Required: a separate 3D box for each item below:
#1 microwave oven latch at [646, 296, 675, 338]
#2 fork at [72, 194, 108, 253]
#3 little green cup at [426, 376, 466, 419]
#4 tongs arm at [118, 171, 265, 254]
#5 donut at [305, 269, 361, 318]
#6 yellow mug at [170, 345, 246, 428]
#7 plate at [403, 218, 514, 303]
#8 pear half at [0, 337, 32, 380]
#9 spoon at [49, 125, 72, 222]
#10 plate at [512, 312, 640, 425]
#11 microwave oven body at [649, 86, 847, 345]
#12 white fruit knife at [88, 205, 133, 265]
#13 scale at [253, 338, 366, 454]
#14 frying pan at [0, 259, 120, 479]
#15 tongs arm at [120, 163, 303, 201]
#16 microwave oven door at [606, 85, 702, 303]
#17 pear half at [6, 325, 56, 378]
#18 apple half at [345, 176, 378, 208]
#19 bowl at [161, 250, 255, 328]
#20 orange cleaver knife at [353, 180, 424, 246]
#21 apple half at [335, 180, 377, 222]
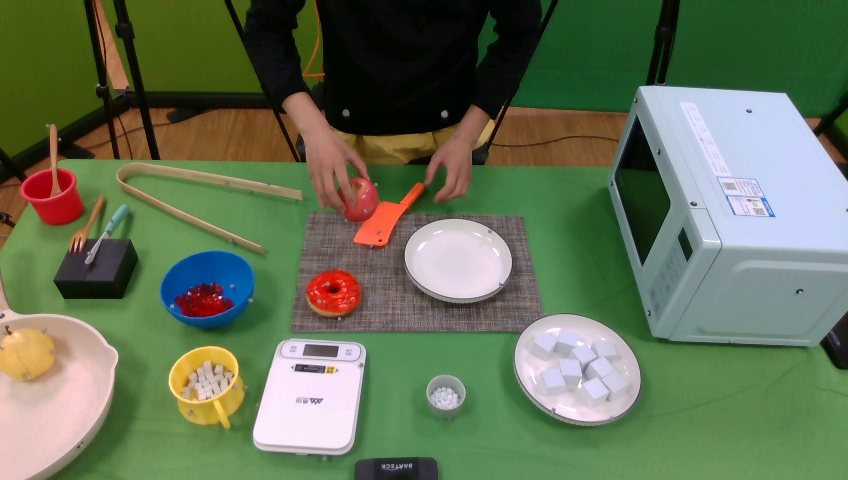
[{"bbox_3d":[0.412,0.134,1.061,0.030,0.029,0.078,4,45,1],"label":"microwave oven latch"},{"bbox_3d":[-0.634,-0.036,1.158,0.028,0.019,0.206,-8,31,-8],"label":"fork"},{"bbox_3d":[0.033,0.248,0.950,0.061,0.039,0.061,2,46,-2],"label":"little green cup"},{"bbox_3d":[-0.473,-0.055,1.210,0.386,0.028,0.028,23,56,17],"label":"tongs arm"},{"bbox_3d":[-0.160,0.094,1.075,0.099,0.048,0.098,4,45,-3],"label":"donut"},{"bbox_3d":[-0.322,0.230,0.922,0.100,0.064,0.130,-24,53,-25],"label":"yellow mug"},{"bbox_3d":[0.064,0.042,1.146,0.209,0.038,0.208,3,46,-2],"label":"plate"},{"bbox_3d":[-0.631,0.184,0.921,0.070,0.088,0.031,29,49,19],"label":"pear half"},{"bbox_3d":[-0.718,-0.131,1.189,0.041,0.021,0.193,-4,90,-6],"label":"spoon"},{"bbox_3d":[0.246,0.213,0.999,0.208,0.039,0.206,2,46,-2],"label":"plate"},{"bbox_3d":[0.567,-0.053,1.118,0.326,0.261,0.439,2,45,-1],"label":"microwave oven body"},{"bbox_3d":[-0.584,-0.013,1.129,0.016,0.027,0.206,-1,32,-5],"label":"white fruit knife"},{"bbox_3d":[-0.175,0.236,0.951,0.149,0.032,0.199,4,45,0],"label":"scale"},{"bbox_3d":[-0.647,0.164,0.936,0.307,0.103,0.485,-19,58,-22],"label":"frying pan"},{"bbox_3d":[-0.444,-0.114,1.266,0.384,0.026,0.050,12,50,7],"label":"tongs arm"},{"bbox_3d":[0.423,-0.094,1.140,0.039,0.245,0.353,2,46,-1],"label":"microwave oven door"},{"bbox_3d":[-0.608,0.158,0.935,0.076,0.110,0.056,31,51,20],"label":"pear half"},{"bbox_3d":[-0.112,-0.091,1.145,0.081,0.082,0.032,27,59,21],"label":"apple half"},{"bbox_3d":[-0.362,0.098,1.039,0.151,0.077,0.150,2,45,-2],"label":"bowl"},{"bbox_3d":[-0.070,-0.059,1.245,0.077,0.012,0.210,17,50,22],"label":"orange cleaver knife"},{"bbox_3d":[-0.133,-0.066,1.127,0.080,0.075,0.053,27,59,22],"label":"apple half"}]
